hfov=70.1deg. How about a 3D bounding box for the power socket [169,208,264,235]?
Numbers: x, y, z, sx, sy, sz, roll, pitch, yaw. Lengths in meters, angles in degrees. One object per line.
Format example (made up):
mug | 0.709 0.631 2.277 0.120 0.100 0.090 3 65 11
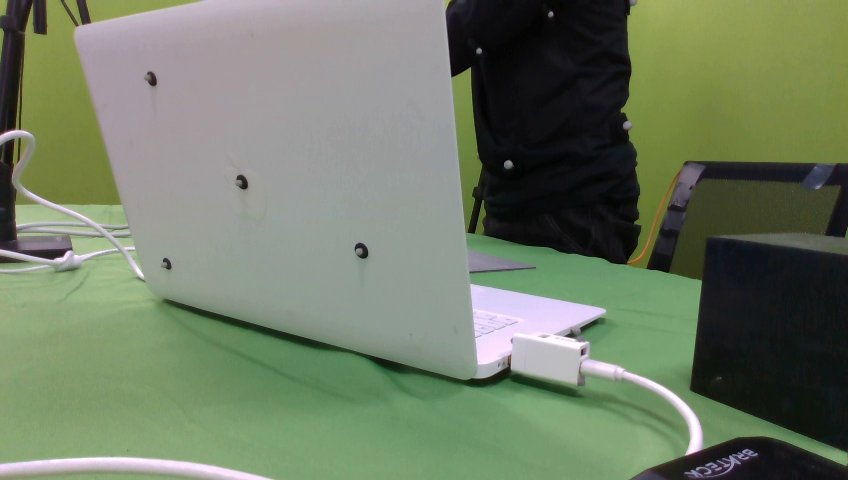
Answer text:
power socket | -0.381 -0.038 1.128 0.072 0.032 0.227 4 8 16

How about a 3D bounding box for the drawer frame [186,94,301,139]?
drawer frame | -0.413 -0.276 1.372 0.203 0.082 0.212 -3 8 -33

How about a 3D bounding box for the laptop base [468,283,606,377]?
laptop base | -0.042 0.057 0.554 0.352 0.023 0.237 8 6 35

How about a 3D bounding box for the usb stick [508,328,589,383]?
usb stick | 0.072 0.072 0.383 0.059 0.027 0.021 2 2 34

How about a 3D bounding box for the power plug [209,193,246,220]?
power plug | -0.388 -0.067 1.205 0.072 0.052 0.035 4 8 27

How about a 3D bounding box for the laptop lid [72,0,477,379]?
laptop lid | -0.125 -0.042 0.417 0.355 0.241 0.013 9 25 34

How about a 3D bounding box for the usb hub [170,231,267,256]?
usb hub | -0.290 0.005 0.862 0.049 0.025 0.126 10 11 42

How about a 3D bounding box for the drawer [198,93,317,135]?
drawer | -0.359 -0.263 1.294 0.195 0.073 0.210 -4 9 -33

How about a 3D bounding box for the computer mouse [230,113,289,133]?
computer mouse | -0.346 -0.246 1.272 0.118 0.041 0.062 -8 17 -34
